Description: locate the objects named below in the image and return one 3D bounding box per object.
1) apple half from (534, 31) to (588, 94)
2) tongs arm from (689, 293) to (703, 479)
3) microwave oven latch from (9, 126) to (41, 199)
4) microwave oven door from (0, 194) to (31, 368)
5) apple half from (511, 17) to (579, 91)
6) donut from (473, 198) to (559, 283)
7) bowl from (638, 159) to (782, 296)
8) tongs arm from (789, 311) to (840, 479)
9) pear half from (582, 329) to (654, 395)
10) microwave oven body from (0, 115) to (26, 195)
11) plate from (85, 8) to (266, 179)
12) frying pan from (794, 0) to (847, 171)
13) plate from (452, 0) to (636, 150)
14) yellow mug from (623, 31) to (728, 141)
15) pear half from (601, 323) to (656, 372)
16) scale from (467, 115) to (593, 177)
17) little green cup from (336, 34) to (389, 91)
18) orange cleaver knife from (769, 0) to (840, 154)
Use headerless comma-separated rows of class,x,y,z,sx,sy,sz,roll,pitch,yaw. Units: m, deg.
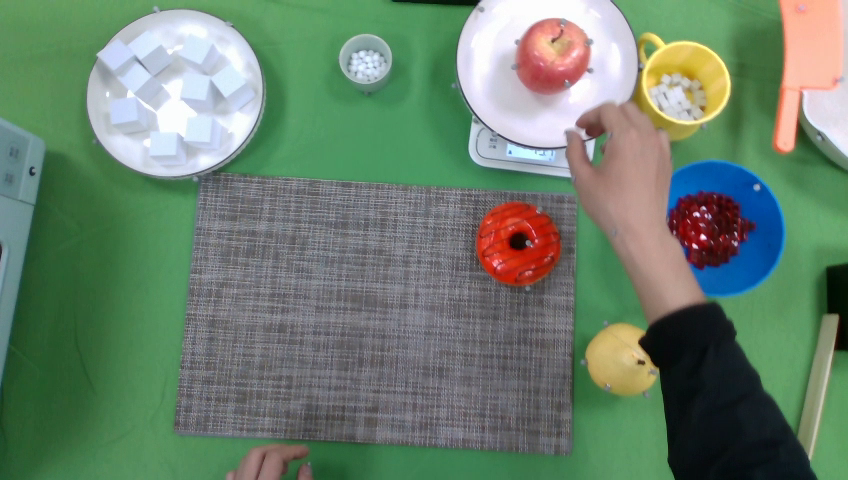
apple half,0.157,-0.186,0.670,0.032,0.081,0.081,43,84,9
tongs arm,0.321,0.251,0.674,0.051,0.026,0.383,3,84,-3
microwave oven latch,-0.462,-0.089,0.690,0.030,0.029,0.079,8,83,0
microwave oven door,-0.487,0.113,0.561,0.039,0.244,0.354,6,82,1
apple half,0.127,-0.211,0.674,0.053,0.075,0.081,43,87,8
donut,0.104,0.001,0.695,0.099,0.048,0.099,0,83,1
bowl,0.308,-0.009,0.686,0.151,0.077,0.151,0,83,0
tongs arm,0.407,0.264,0.674,0.028,0.028,0.386,18,84,-4
pear half,0.207,0.138,0.650,0.076,0.110,0.056,35,84,8
microwave oven body,-0.628,0.056,0.573,0.326,0.260,0.440,6,83,0
plate,-0.289,-0.171,0.721,0.208,0.039,0.207,0,82,-1
frying pan,0.603,-0.104,0.687,0.307,0.103,0.485,-23,75,-2
plate,0.136,-0.202,0.699,0.209,0.038,0.208,0,82,-1
yellow mug,0.285,-0.188,0.714,0.100,0.064,0.130,-29,83,-3
pear half,0.229,0.111,0.663,0.070,0.088,0.031,34,84,7
scale,0.135,-0.182,0.729,0.149,0.031,0.200,8,83,1
little green cup,-0.072,-0.211,0.728,0.061,0.039,0.061,0,82,0
orange cleaver knife,0.426,-0.197,0.679,0.077,0.012,0.210,8,83,3
